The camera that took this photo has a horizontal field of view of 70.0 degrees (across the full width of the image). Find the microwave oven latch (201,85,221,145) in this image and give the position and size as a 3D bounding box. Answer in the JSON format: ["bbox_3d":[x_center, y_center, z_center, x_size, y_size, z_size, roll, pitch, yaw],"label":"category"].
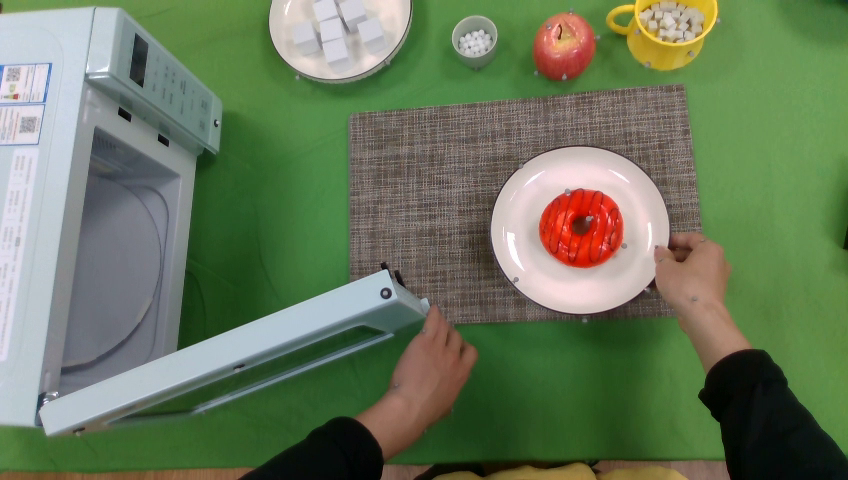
[{"bbox_3d":[-0.302,-0.173,0.843,0.030,0.029,0.079,1,80,8],"label":"microwave oven latch"}]

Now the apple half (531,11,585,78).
[{"bbox_3d":[0.168,-0.247,0.790,0.053,0.075,0.080,-30,80,6],"label":"apple half"}]

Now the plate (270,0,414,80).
[{"bbox_3d":[-0.114,-0.321,0.864,0.207,0.039,0.206,-2,79,8],"label":"plate"}]

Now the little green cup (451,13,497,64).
[{"bbox_3d":[0.070,-0.272,0.827,0.061,0.039,0.061,-2,78,9],"label":"little green cup"}]

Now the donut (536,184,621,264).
[{"bbox_3d":[0.183,-0.018,0.716,0.099,0.048,0.098,-2,78,10],"label":"donut"}]

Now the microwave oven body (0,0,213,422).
[{"bbox_3d":[-0.467,-0.019,0.739,0.325,0.261,0.440,0,80,8],"label":"microwave oven body"}]

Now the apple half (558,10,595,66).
[{"bbox_3d":[0.202,-0.266,0.788,0.033,0.082,0.081,-30,76,6],"label":"apple half"}]

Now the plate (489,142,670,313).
[{"bbox_3d":[0.182,-0.015,0.727,0.209,0.038,0.208,-2,77,11],"label":"plate"}]

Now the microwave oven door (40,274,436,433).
[{"bbox_3d":[-0.173,0.126,0.661,0.356,0.245,0.039,-22,75,4],"label":"microwave oven door"}]

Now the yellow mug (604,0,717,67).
[{"bbox_3d":[0.300,-0.285,0.781,0.130,0.064,0.099,7,80,11],"label":"yellow mug"}]
